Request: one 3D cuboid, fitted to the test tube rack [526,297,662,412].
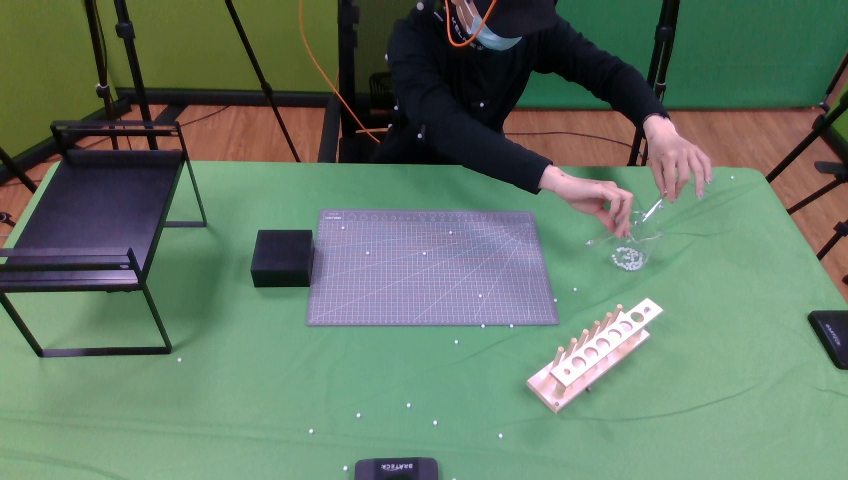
[{"bbox_3d":[0.284,0.176,1.007,0.242,0.085,0.066,-29,54,-27],"label":"test tube rack"}]

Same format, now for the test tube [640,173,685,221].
[{"bbox_3d":[0.462,-0.084,1.169,0.017,0.017,0.150,36,62,26],"label":"test tube"}]

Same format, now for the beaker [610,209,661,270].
[{"bbox_3d":[0.404,0.005,1.169,0.074,0.101,0.083,19,49,15],"label":"beaker"}]

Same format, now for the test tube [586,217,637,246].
[{"bbox_3d":[0.338,-0.015,1.087,0.150,0.017,0.017,-20,50,-38],"label":"test tube"}]
